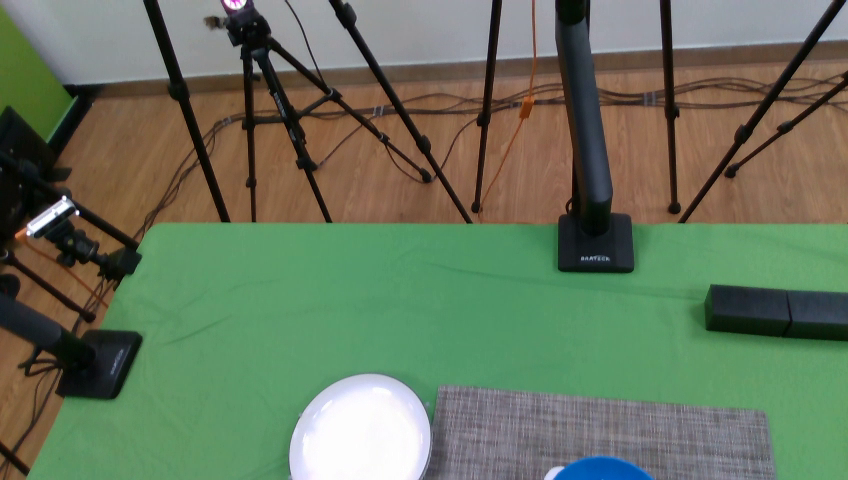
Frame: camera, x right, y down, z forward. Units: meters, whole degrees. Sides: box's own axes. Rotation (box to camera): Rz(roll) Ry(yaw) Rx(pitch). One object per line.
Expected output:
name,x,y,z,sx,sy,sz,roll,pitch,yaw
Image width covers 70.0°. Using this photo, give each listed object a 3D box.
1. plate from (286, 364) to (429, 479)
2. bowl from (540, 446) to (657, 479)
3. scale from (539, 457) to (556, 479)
plate,-0.093,0.281,0.870,0.207,0.039,0.205,-5,54,8
bowl,0.205,0.326,0.706,0.151,0.077,0.150,-5,55,7
scale,0.210,0.373,0.738,0.148,0.032,0.199,2,56,14
